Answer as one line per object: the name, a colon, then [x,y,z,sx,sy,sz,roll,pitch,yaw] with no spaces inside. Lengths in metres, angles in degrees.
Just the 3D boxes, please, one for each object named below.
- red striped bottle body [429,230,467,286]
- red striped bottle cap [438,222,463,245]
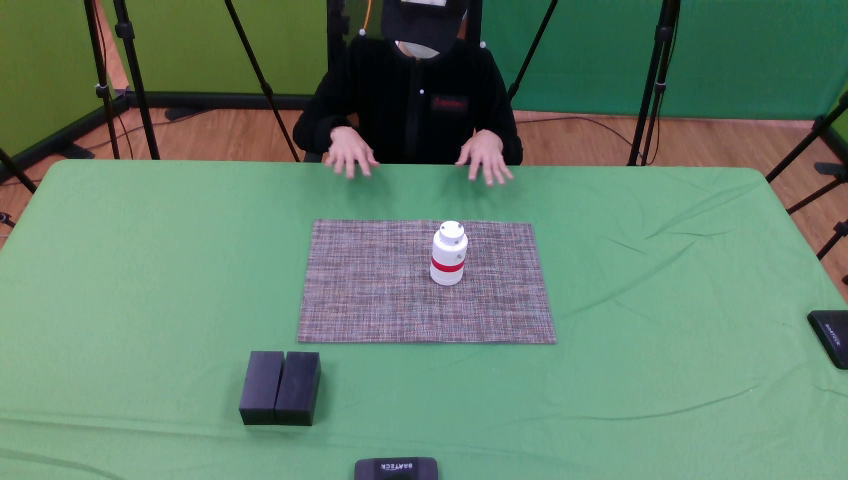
red striped bottle body: [0.044,0.024,1.105,0.063,0.120,0.062,3,45,-2]
red striped bottle cap: [0.047,-0.013,1.067,0.044,0.018,0.044,2,43,-2]
